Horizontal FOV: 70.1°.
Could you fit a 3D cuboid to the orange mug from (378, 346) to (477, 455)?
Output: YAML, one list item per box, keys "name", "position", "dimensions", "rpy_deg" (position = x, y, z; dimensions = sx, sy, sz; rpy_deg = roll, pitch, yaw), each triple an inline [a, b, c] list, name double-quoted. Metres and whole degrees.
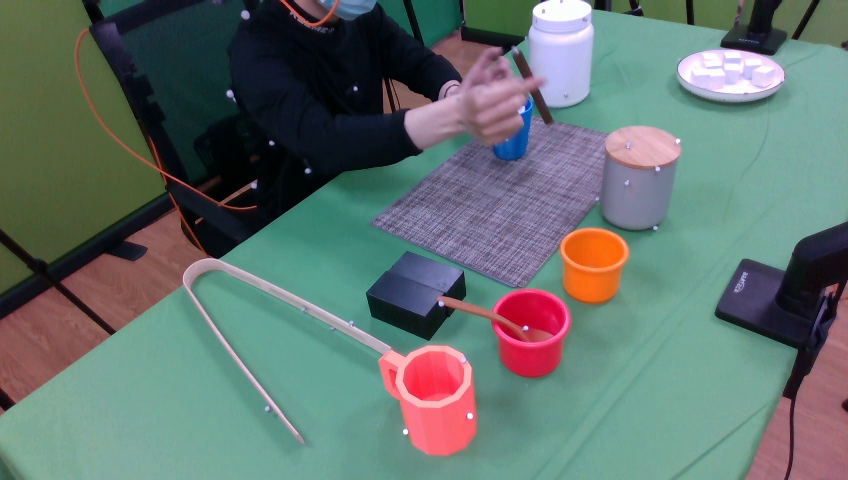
- name: "orange mug"
  position: [0.002, 0.179, 0.709]
  dimensions: [0.125, 0.101, 0.083]
  rpy_deg: [25, 50, 27]

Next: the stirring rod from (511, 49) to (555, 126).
- name: "stirring rod"
  position: [0.155, -0.209, 0.845]
  dimensions: [0.014, 0.177, 0.006]
  rpy_deg: [-33, 58, 11]

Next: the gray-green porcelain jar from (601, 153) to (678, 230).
- name: "gray-green porcelain jar"
  position: [0.334, -0.087, 0.949]
  dimensions: [0.106, 0.127, 0.105]
  rpy_deg: [-4, 40, 4]

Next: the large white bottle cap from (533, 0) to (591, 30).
- name: "large white bottle cap"
  position: [0.274, -0.450, 1.204]
  dimensions: [0.115, 0.018, 0.114]
  rpy_deg: [-4, 41, 4]

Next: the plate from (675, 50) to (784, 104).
- name: "plate"
  position: [0.632, -0.336, 1.262]
  dimensions: [0.207, 0.039, 0.206]
  rpy_deg: [-4, 41, 4]

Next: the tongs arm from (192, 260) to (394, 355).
- name: "tongs arm"
  position: [-0.204, 0.101, 0.881]
  dimensions: [0.382, 0.027, 0.051]
  rpy_deg: [22, 54, 32]

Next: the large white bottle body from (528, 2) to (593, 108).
- name: "large white bottle body"
  position: [0.283, -0.386, 1.259]
  dimensions: [0.130, 0.185, 0.130]
  rpy_deg: [-4, 41, 4]

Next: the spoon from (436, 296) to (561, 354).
- name: "spoon"
  position: [0.096, 0.102, 0.750]
  dimensions: [0.195, 0.021, 0.041]
  rpy_deg: [28, 31, -28]

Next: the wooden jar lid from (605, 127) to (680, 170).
- name: "wooden jar lid"
  position: [0.327, -0.134, 0.909]
  dimensions: [0.108, 0.021, 0.108]
  rpy_deg: [-2, 43, 2]

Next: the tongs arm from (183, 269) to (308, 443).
- name: "tongs arm"
  position: [-0.260, 0.148, 0.842]
  dimensions: [0.028, 0.028, 0.384]
  rpy_deg: [-38, 48, -19]
